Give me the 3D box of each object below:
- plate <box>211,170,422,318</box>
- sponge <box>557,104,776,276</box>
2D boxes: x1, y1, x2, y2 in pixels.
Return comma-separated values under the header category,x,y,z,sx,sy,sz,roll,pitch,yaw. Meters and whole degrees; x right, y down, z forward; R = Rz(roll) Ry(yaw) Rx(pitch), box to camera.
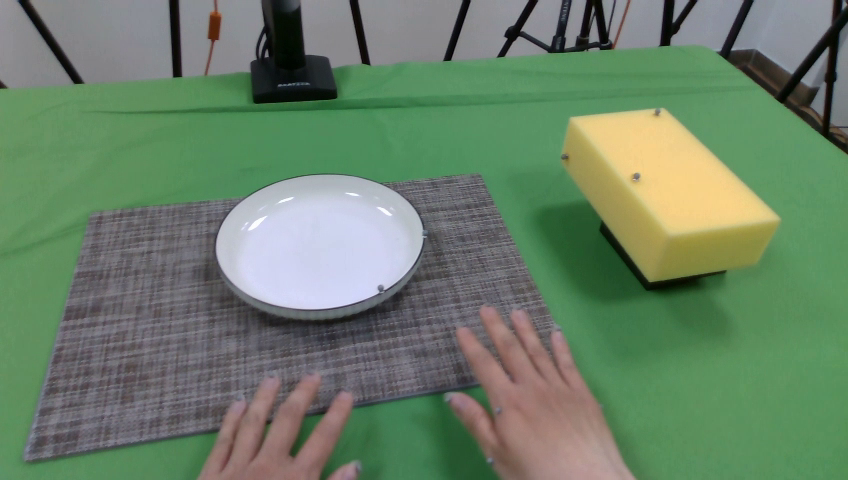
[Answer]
category,x,y,z,sx,sy,sz,roll,pitch,yaw
plate,-0.106,0.004,0.618,0.208,0.039,0.205,2,42,-2
sponge,0.239,-0.061,0.629,0.118,0.061,0.204,-8,44,-13
